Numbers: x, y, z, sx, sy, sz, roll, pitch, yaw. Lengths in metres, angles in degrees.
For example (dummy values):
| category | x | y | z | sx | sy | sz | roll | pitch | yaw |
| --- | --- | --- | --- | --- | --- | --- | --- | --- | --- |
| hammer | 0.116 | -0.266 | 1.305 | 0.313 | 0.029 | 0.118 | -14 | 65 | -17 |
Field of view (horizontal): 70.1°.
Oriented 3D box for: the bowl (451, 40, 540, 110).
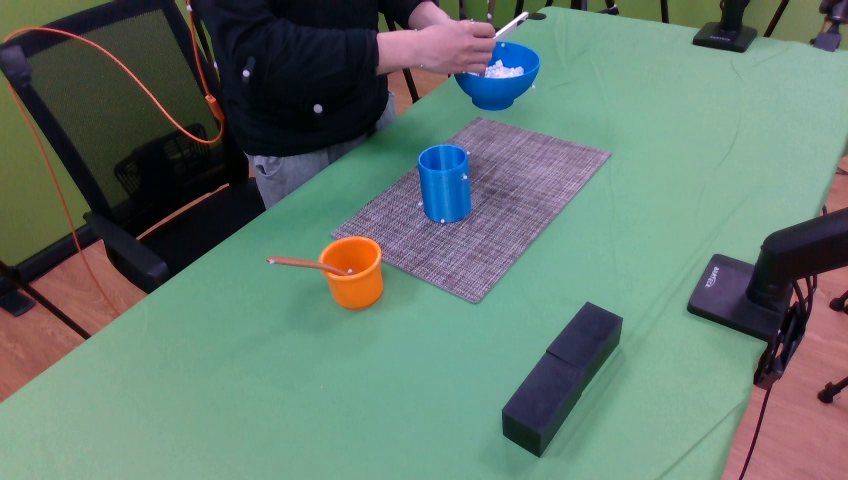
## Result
| category | x | y | z | sx | sy | sz | roll | pitch | yaw |
| --- | --- | --- | --- | --- | --- | --- | --- | --- | --- |
| bowl | 0.120 | -0.275 | 1.035 | 0.151 | 0.077 | 0.150 | 0 | 41 | 1 |

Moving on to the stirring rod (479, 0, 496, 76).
| category | x | y | z | sx | sy | sz | roll | pitch | yaw |
| --- | --- | --- | --- | --- | --- | --- | --- | --- | --- |
| stirring rod | 0.103 | -0.332 | 0.984 | 0.006 | 0.176 | 0.014 | 30 | 56 | 19 |

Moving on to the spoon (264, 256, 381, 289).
| category | x | y | z | sx | sy | sz | roll | pitch | yaw |
| --- | --- | --- | --- | --- | --- | --- | --- | --- | --- |
| spoon | -0.136 | 0.041 | 0.842 | 0.021 | 0.195 | 0.041 | -56 | 46 | 13 |

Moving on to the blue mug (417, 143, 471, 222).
| category | x | y | z | sx | sy | sz | roll | pitch | yaw |
| --- | --- | --- | --- | --- | --- | --- | --- | --- | --- |
| blue mug | 0.031 | -0.104 | 1.014 | 0.082 | 0.106 | 0.115 | -14 | 41 | -7 |
